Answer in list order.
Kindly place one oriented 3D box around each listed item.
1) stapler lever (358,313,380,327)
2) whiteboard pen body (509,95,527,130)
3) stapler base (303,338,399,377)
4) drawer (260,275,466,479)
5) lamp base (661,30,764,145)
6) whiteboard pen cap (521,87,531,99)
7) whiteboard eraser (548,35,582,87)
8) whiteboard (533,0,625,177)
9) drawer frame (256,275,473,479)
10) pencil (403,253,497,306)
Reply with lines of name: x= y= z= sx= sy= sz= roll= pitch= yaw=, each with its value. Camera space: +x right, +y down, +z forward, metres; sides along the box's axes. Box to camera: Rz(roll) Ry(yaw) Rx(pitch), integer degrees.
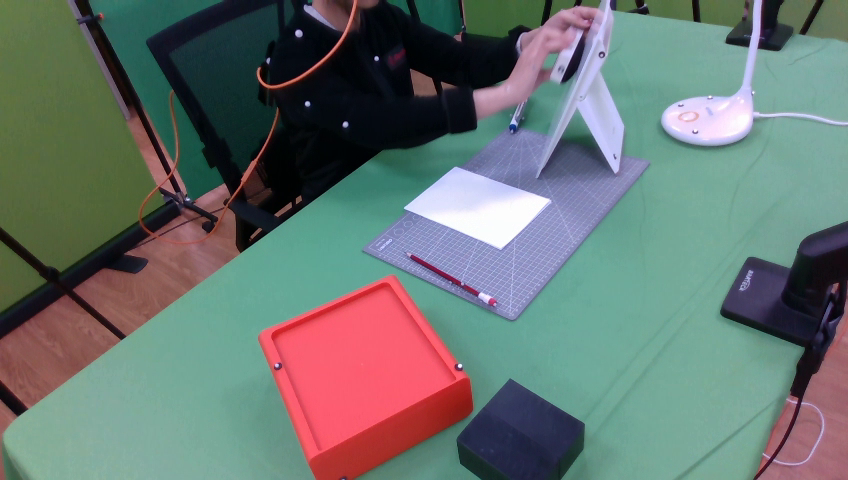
stapler lever: x=-0.106 y=0.127 z=0.792 sx=0.118 sy=0.040 sz=0.026 roll=-15 pitch=25 yaw=2
whiteboard pen body: x=0.199 y=-0.273 z=1.261 sx=0.017 sy=0.017 sz=0.140 roll=7 pitch=45 yaw=18
stapler base: x=-0.099 y=0.150 z=0.805 sx=0.130 sy=0.024 sz=0.041 roll=-13 pitch=25 yaw=1
drawer: x=-0.080 y=0.162 z=0.760 sx=0.195 sy=0.073 sz=0.210 roll=-22 pitch=42 yaw=-16
lamp base: x=0.535 y=-0.287 z=1.096 sx=0.179 sy=0.181 sz=0.159 roll=-10 pitch=40 yaw=-4
whiteboard pen cap: x=0.219 y=-0.313 z=1.301 sx=0.018 sy=0.018 sz=0.033 roll=7 pitch=47 yaw=18
whiteboard eraser: x=0.254 y=-0.317 z=1.073 sx=0.042 sy=0.055 sz=0.112 roll=21 pitch=43 yaw=6
whiteboard: x=0.322 y=-0.258 z=1.050 sx=0.144 sy=0.306 sz=0.217 roll=21 pitch=44 yaw=4
drawer frame: x=-0.078 y=0.163 z=0.756 sx=0.202 sy=0.083 sz=0.211 roll=-23 pitch=43 yaw=-17
pencil: x=0.034 y=0.056 z=0.914 sx=0.192 sy=0.012 sz=0.012 roll=27 pitch=52 yaw=38
